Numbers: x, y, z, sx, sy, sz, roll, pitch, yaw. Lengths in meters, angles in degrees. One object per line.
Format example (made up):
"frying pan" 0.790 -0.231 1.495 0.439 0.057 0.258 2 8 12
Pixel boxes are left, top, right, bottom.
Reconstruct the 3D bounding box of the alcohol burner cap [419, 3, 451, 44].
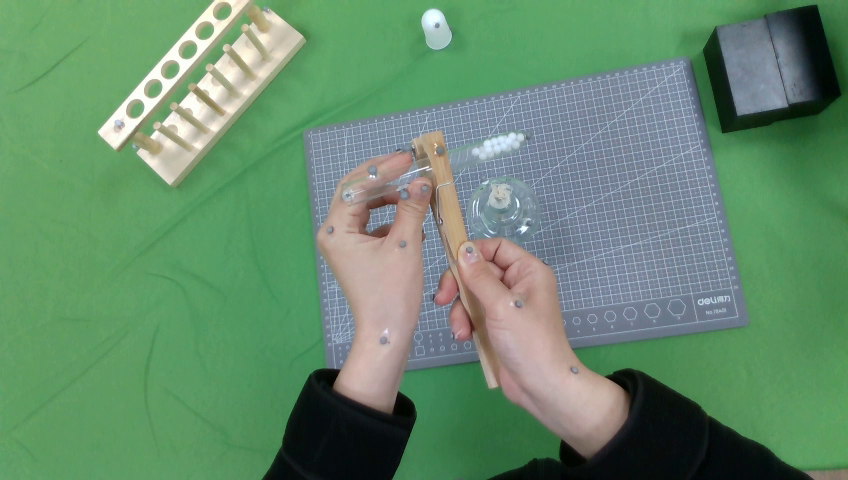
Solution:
"alcohol burner cap" 0.011 -0.254 0.701 0.034 0.048 0.033 -3 76 11

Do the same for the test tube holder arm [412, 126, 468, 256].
"test tube holder arm" 0.012 -0.032 0.407 0.015 0.010 0.088 -19 101 -17

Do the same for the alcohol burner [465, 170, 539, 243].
"alcohol burner" 0.078 -0.038 0.619 0.078 0.120 0.077 -2 79 10

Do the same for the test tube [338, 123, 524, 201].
"test tube" 0.011 -0.055 0.412 0.150 0.017 0.017 -22 76 -28

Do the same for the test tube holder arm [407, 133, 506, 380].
"test tube holder arm" 0.023 0.011 0.417 0.015 0.013 0.178 -19 94 -17

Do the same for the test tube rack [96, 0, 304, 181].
"test tube rack" -0.257 -0.189 0.711 0.066 0.085 0.242 41 89 13
